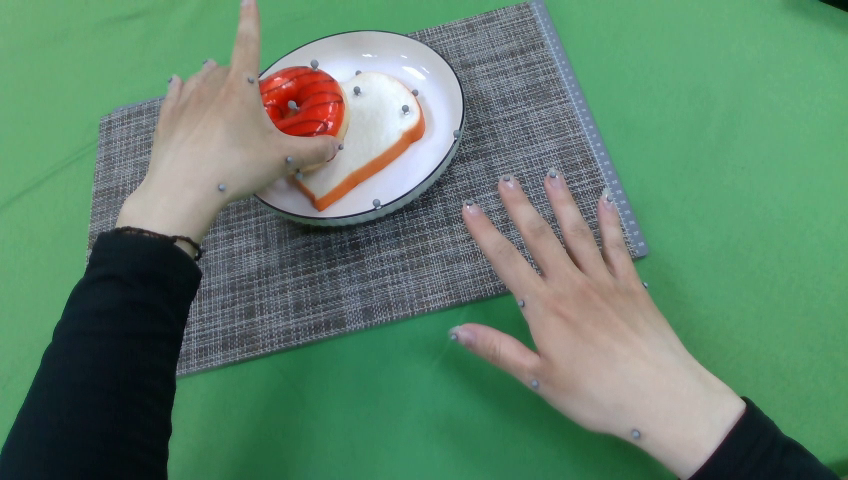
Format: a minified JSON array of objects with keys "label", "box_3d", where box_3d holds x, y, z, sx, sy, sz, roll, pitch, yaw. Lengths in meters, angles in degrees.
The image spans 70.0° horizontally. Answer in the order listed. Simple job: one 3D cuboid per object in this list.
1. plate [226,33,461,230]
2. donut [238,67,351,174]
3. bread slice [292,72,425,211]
[{"label":"plate","box_3d":[-0.069,-0.095,0.537,0.207,0.039,0.206,-4,61,7]},{"label":"donut","box_3d":[-0.108,-0.099,0.502,0.099,0.049,0.098,-6,64,14]},{"label":"bread slice","box_3d":[-0.068,-0.098,0.540,0.131,0.019,0.104,-37,62,-10]}]
